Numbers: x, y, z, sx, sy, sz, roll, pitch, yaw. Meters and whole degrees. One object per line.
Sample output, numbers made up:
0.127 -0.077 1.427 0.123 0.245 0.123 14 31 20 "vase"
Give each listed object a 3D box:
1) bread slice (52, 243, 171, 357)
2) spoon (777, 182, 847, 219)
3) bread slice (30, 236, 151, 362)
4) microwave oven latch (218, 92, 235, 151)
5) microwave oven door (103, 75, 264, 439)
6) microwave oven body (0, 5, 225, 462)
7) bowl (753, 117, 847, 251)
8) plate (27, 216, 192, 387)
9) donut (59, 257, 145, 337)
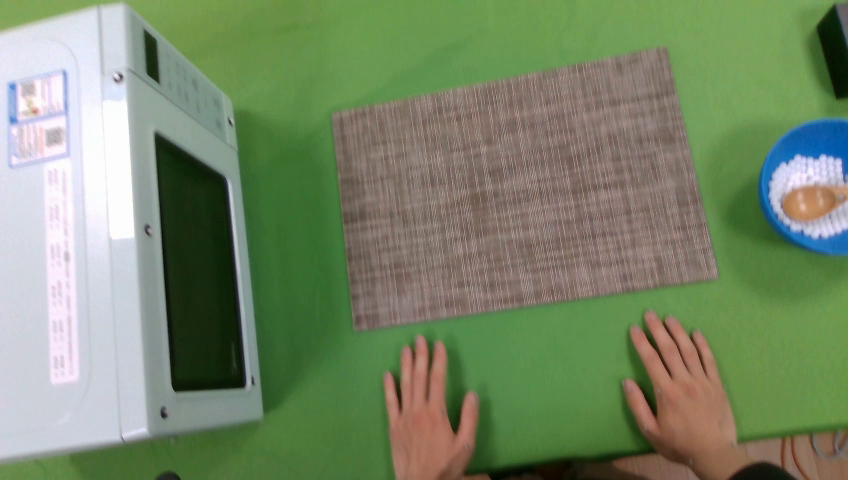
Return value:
-0.390 0.068 0.744 0.133 0.018 0.107 30 77 16 "bread slice"
0.487 -0.063 0.649 0.193 0.022 0.041 -18 70 28 "spoon"
-0.394 0.061 0.698 0.131 0.019 0.105 38 89 11 "bread slice"
-0.280 -0.161 0.828 0.030 0.029 0.079 -11 78 6 "microwave oven latch"
-0.264 0.029 0.683 0.039 0.245 0.354 -11 77 7 "microwave oven door"
-0.413 0.018 0.714 0.326 0.261 0.439 -11 78 6 "microwave oven body"
0.443 -0.054 0.687 0.151 0.077 0.150 -2 78 9 "bowl"
-0.383 0.075 0.750 0.207 0.039 0.206 -1 78 6 "plate"
-0.384 0.068 0.723 0.099 0.048 0.098 -1 76 4 "donut"
